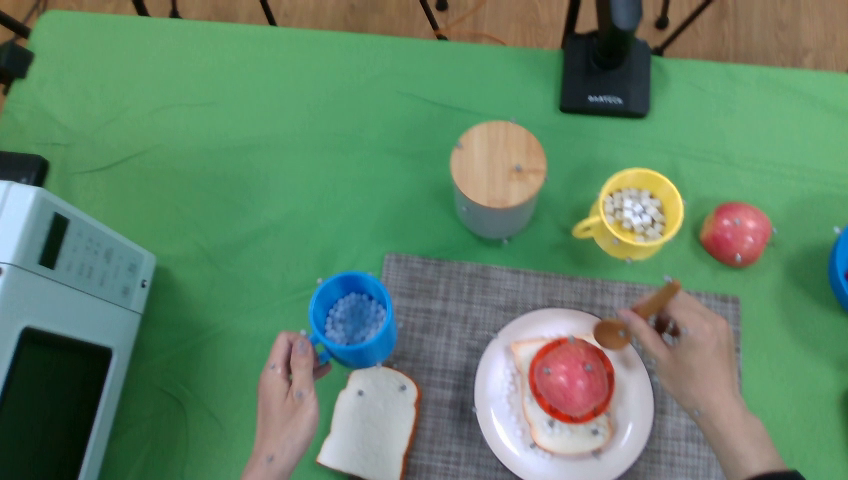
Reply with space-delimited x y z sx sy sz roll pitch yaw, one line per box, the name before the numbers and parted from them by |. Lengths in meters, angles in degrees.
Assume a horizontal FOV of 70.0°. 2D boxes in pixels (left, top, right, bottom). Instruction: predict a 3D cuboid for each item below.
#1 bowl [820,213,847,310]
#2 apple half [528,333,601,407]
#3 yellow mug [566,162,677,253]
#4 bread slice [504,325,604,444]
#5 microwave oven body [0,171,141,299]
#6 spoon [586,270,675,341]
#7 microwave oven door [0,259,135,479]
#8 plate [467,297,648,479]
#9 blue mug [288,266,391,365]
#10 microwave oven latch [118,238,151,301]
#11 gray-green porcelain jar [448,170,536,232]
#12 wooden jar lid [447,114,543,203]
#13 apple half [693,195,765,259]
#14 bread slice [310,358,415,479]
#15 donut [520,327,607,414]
bowl | 0.538 0.036 0.719 0.151 0.077 0.150 -1 74 3
apple half | 0.155 0.140 0.659 0.081 0.033 0.081 -3 73 11
yellow mug | 0.243 -0.035 0.762 0.131 0.064 0.099 -16 73 -1
bread slice | 0.159 0.170 0.716 0.107 0.018 0.133 -10 76 0
microwave oven body | -0.550 0.158 0.641 0.326 0.261 0.439 7 75 5
spoon | 0.207 0.070 0.612 0.041 0.195 0.021 38 72 11
microwave oven door | -0.414 0.215 0.611 0.039 0.245 0.354 7 74 5
plate | 0.154 0.172 0.717 0.207 0.039 0.206 -1 74 3
blue mug | -0.091 0.091 0.636 0.116 0.106 0.082 -34 73 -13
microwave oven latch | -0.372 0.036 0.768 0.030 0.029 0.079 11 75 6
gray-green porcelain jar | 0.083 -0.072 0.750 0.106 0.127 0.105 -1 73 3
wooden jar lid | 0.080 -0.091 0.690 0.108 0.021 0.107 -1 71 3
apple half | 0.385 -0.022 0.757 0.074 0.054 0.080 28 77 13
bread slice | -0.070 0.208 0.729 0.105 0.019 0.131 15 76 6
donut | 0.160 0.149 0.694 0.099 0.048 0.098 -1 74 3
